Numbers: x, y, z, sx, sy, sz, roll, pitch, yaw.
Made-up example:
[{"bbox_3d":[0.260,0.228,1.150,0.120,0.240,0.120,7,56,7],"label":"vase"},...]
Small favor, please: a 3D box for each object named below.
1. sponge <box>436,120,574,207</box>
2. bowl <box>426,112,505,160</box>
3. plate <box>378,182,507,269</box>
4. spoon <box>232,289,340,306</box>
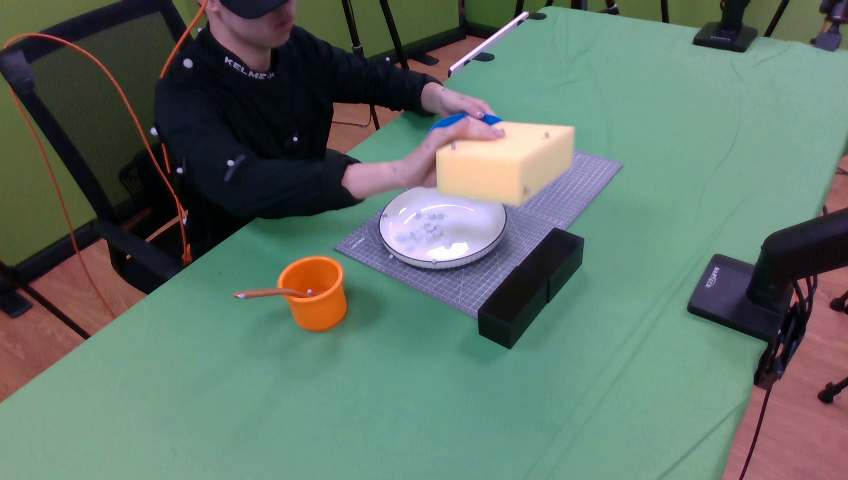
[{"bbox_3d":[0.117,-0.111,0.829,0.117,0.061,0.207,10,26,28],"label":"sponge"},{"bbox_3d":[0.084,-0.161,1.098,0.151,0.077,0.150,-4,40,4],"label":"bowl"},{"bbox_3d":[0.031,-0.022,0.974,0.209,0.038,0.208,-4,40,4],"label":"plate"},{"bbox_3d":[-0.181,0.074,0.812,0.041,0.195,0.021,15,90,31],"label":"spoon"}]
